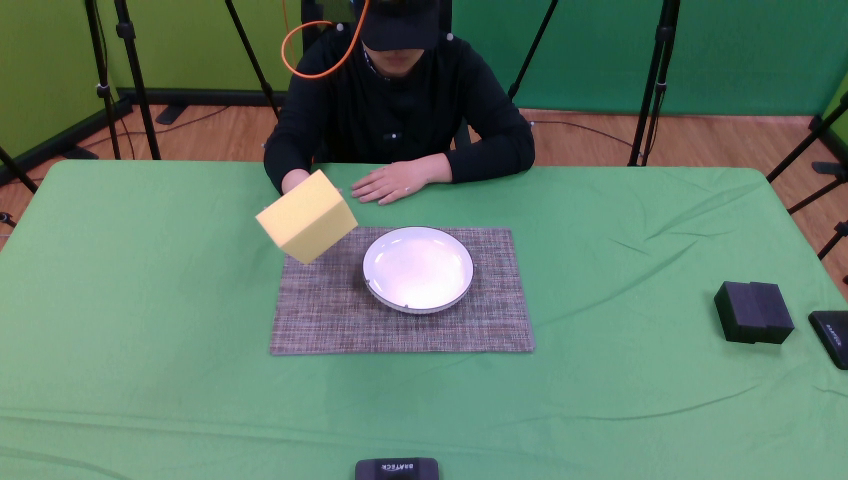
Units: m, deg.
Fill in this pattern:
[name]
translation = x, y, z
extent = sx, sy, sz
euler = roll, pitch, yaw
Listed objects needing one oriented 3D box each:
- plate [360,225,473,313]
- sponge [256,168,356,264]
[plate]
translation = -0.014, 0.057, 1.127
extent = 0.208, 0.039, 0.206
euler = 2, 46, -2
[sponge]
translation = -0.182, -0.030, 0.977
extent = 0.118, 0.207, 0.061
euler = -38, 83, -7
